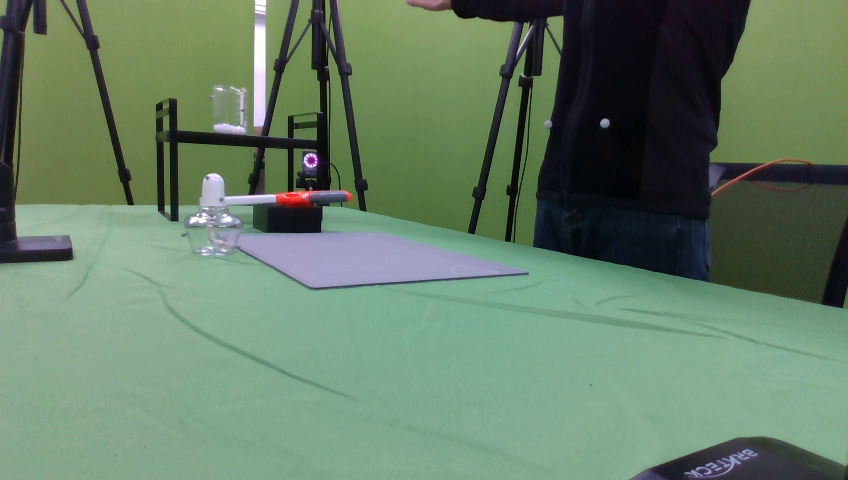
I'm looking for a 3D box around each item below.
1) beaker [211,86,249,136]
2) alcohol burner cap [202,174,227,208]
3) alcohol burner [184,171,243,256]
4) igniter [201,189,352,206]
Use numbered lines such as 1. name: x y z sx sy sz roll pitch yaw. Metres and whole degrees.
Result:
1. beaker: -0.413 -0.274 1.297 0.074 0.100 0.083 -5 11 -44
2. alcohol burner cap: -0.293 -0.068 0.846 0.034 0.048 0.034 0 6 0
3. alcohol burner: -0.296 -0.038 0.851 0.078 0.119 0.078 2 5 0
4. igniter: -0.271 -0.078 1.139 0.278 0.025 0.057 -5 11 -27
